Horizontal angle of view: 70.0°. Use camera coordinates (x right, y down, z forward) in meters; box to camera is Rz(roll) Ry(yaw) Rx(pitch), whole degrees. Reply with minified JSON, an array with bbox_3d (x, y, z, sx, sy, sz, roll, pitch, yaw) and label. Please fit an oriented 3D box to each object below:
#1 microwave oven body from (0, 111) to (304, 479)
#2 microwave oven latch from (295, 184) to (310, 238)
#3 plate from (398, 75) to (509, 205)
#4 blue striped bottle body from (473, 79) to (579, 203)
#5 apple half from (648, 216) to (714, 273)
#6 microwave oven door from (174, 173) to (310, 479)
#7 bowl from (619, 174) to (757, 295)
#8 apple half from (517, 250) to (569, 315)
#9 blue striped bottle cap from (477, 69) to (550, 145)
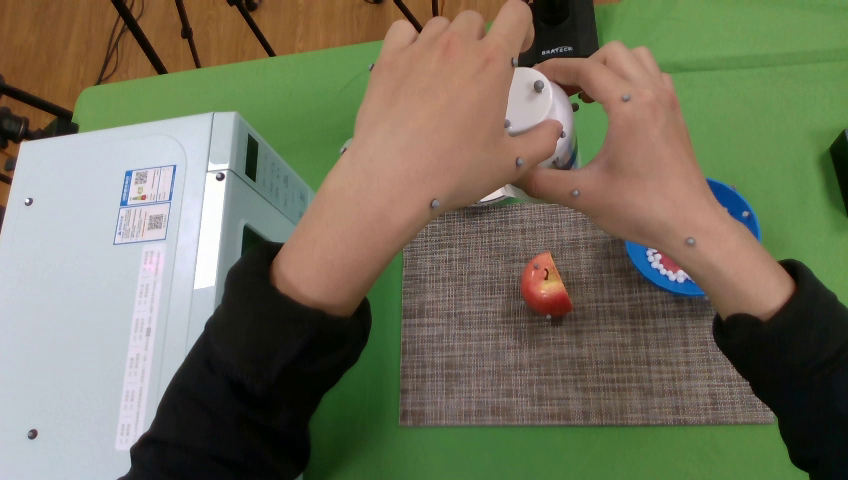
[{"bbox_3d":[-0.346,0.106,0.773,0.325,0.262,0.438,-6,70,11],"label":"microwave oven body"},{"bbox_3d":[-0.184,-0.042,0.891,0.030,0.030,0.078,-6,71,11],"label":"microwave oven latch"},{"bbox_3d":[0.067,-0.143,0.887,0.207,0.039,0.206,-4,70,12],"label":"plate"},{"bbox_3d":[0.073,-0.071,0.428,0.063,0.122,0.063,-4,76,18],"label":"blue striped bottle body"},{"bbox_3d":[0.317,0.002,0.744,0.081,0.033,0.080,-5,68,12],"label":"apple half"},{"bbox_3d":[-0.204,0.129,0.726,0.039,0.246,0.353,-6,70,12],"label":"microwave oven door"},{"bbox_3d":[0.317,0.003,0.748,0.151,0.077,0.150,-5,70,13],"label":"bowl"},{"bbox_3d":[0.147,0.060,0.772,0.053,0.075,0.080,-24,71,9],"label":"apple half"},{"bbox_3d":[0.056,-0.083,0.378,0.044,0.021,0.044,-3,77,15],"label":"blue striped bottle cap"}]
